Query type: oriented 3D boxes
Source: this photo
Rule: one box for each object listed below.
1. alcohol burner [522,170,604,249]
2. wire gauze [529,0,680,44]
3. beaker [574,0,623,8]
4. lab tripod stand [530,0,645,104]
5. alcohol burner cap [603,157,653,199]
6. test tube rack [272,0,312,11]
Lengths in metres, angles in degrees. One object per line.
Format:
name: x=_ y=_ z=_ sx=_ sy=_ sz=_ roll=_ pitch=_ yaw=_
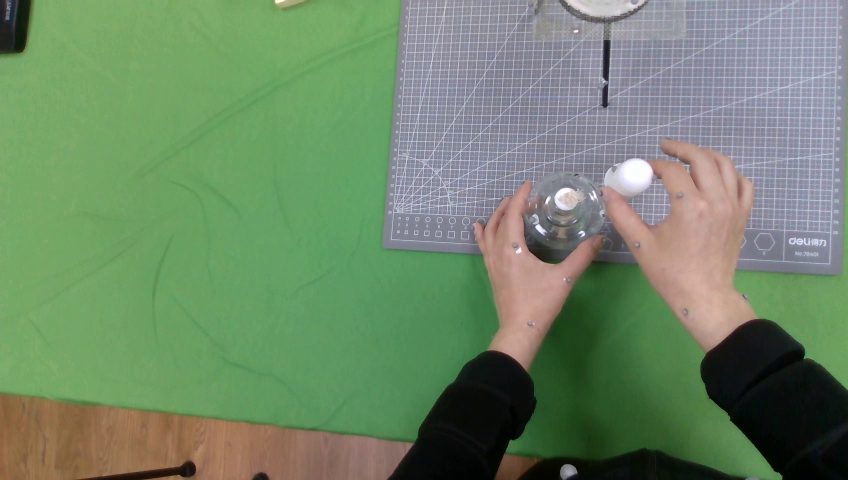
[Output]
alcohol burner: x=0.131 y=-0.031 z=0.572 sx=0.078 sy=0.119 sz=0.077 roll=-1 pitch=84 yaw=11
wire gauze: x=0.151 y=-0.225 z=0.506 sx=0.125 sy=0.011 sz=0.121 roll=3 pitch=89 yaw=10
beaker: x=0.135 y=-0.230 z=0.460 sx=0.083 sy=0.100 sz=0.074 roll=17 pitch=89 yaw=14
lab tripod stand: x=0.165 y=-0.218 z=0.570 sx=0.148 sy=0.132 sz=0.148 roll=-1 pitch=86 yaw=11
alcohol burner cap: x=0.168 y=-0.053 z=0.493 sx=0.034 sy=0.048 sz=0.034 roll=0 pitch=87 yaw=2
test tube rack: x=-0.074 y=-0.336 z=0.661 sx=0.242 sy=0.085 sz=0.066 roll=-14 pitch=82 yaw=11
